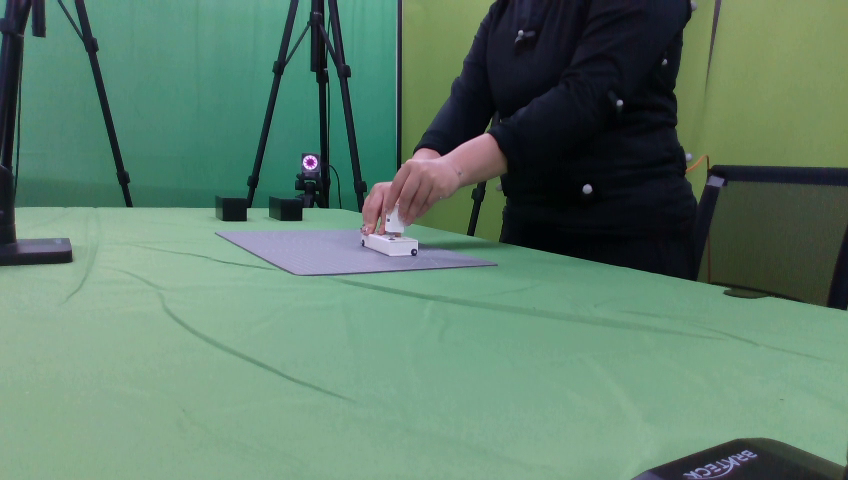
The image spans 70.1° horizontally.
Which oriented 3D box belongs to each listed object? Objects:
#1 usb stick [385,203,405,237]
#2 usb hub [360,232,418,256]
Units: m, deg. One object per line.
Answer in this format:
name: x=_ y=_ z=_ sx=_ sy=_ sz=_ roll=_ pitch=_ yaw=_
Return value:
usb stick: x=-0.045 y=-0.027 z=0.933 sx=0.027 sy=0.059 sz=0.021 roll=-3 pitch=8 yaw=-30
usb hub: x=-0.058 y=0.005 z=0.950 sx=0.050 sy=0.025 sz=0.124 roll=-2 pitch=7 yaw=-26
